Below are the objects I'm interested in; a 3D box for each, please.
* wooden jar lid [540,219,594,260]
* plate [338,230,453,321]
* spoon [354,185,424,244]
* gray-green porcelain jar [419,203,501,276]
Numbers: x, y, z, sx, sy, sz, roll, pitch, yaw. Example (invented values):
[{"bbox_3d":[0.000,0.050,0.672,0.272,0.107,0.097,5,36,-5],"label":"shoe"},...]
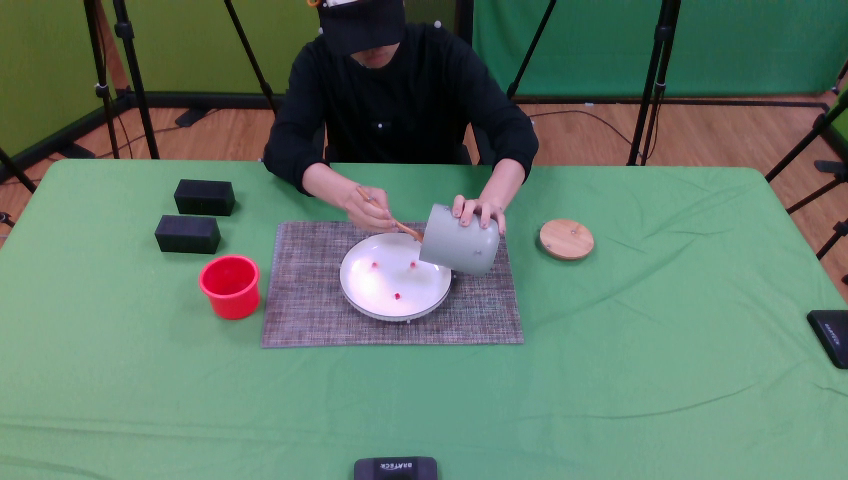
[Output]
[{"bbox_3d":[0.286,0.001,1.218,0.108,0.021,0.107,1,46,-1],"label":"wooden jar lid"},{"bbox_3d":[-0.052,0.068,1.111,0.208,0.039,0.206,2,46,-2],"label":"plate"},{"bbox_3d":[-0.046,-0.031,1.046,0.194,0.021,0.041,36,30,-16],"label":"spoon"},{"bbox_3d":[0.064,0.001,1.055,0.126,0.106,0.105,14,46,3],"label":"gray-green porcelain jar"}]
